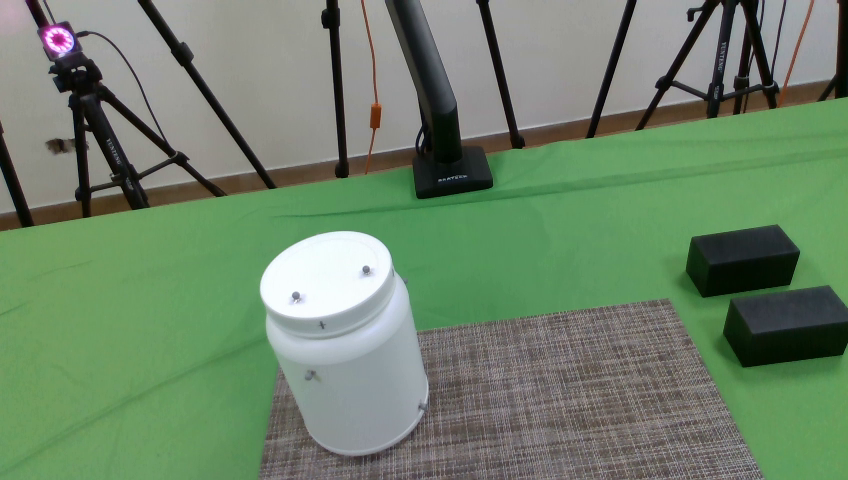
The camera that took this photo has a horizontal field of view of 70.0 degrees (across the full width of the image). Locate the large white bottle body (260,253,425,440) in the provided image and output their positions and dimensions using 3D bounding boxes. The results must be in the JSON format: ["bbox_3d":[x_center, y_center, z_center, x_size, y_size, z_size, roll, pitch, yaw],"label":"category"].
[{"bbox_3d":[-0.074,0.085,0.575,0.130,0.186,0.129,-6,39,5],"label":"large white bottle body"}]

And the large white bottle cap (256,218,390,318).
[{"bbox_3d":[-0.087,0.021,0.521,0.115,0.018,0.113,-6,39,5],"label":"large white bottle cap"}]
